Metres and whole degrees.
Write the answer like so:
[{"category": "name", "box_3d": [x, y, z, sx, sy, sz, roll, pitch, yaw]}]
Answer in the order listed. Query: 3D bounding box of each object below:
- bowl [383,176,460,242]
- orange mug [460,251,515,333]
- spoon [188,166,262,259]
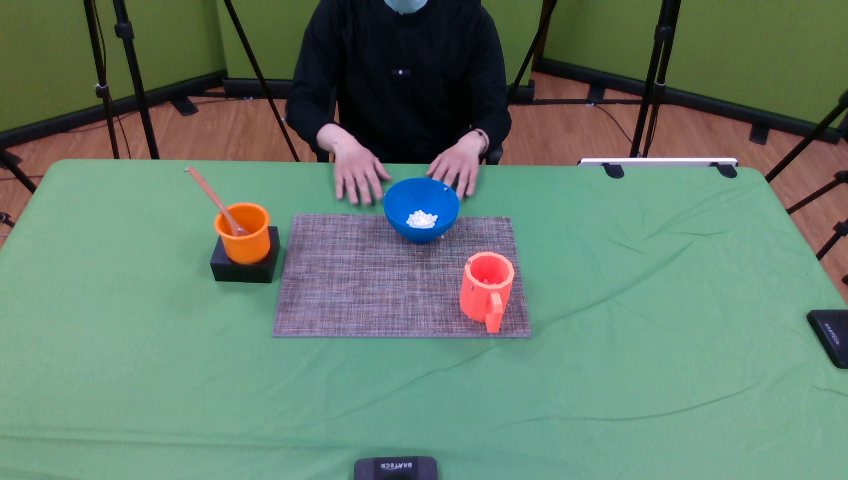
[{"category": "bowl", "box_3d": [-0.006, -0.048, 1.197, 0.151, 0.077, 0.150, 2, 46, -2]}, {"category": "orange mug", "box_3d": [0.114, 0.094, 1.053, 0.083, 0.101, 0.125, -5, 42, -8]}, {"category": "spoon", "box_3d": [-0.349, -0.048, 1.061, 0.041, 0.194, 0.021, -40, 16, -30]}]
